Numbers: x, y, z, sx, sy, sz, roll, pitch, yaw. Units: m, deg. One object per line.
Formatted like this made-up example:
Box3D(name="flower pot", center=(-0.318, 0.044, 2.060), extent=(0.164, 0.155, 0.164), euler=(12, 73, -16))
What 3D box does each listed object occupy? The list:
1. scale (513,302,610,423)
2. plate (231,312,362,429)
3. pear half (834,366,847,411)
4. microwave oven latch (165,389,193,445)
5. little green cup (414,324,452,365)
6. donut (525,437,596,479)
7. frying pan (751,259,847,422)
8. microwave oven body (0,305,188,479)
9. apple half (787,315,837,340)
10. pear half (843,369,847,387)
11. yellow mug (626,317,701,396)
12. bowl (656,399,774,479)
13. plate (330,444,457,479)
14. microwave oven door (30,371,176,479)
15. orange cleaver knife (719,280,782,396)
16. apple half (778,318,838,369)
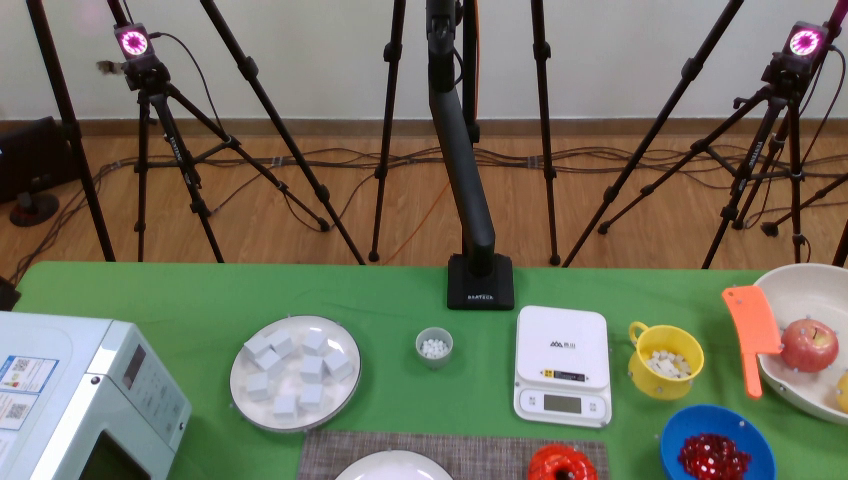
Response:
Box3D(name="scale", center=(0.222, 0.193, 0.981), extent=(0.148, 0.032, 0.199), euler=(4, 50, 7))
Box3D(name="plate", center=(-0.202, 0.210, 0.979), extent=(0.207, 0.039, 0.205), euler=(-1, 49, 1))
Box3D(name="pear half", center=(0.649, 0.218, 0.885), extent=(0.075, 0.111, 0.056), euler=(29, 57, 29))
Box3D(name="microwave oven latch", center=(-0.375, 0.266, 0.913), extent=(0.030, 0.030, 0.078), euler=(6, 50, 6))
Box3D(name="little green cup", center=(0.016, 0.175, 1.001), extent=(0.061, 0.039, 0.061), euler=(-1, 49, 2))
Box3D(name="donut", center=(0.191, 0.327, 0.853), extent=(0.099, 0.049, 0.098), euler=(-2, 50, 3))
Box3D(name="frying pan", center=(0.689, 0.221, 0.890), extent=(0.307, 0.104, 0.482), euler=(-20, 43, -13))
Box3D(name="microwave oven body", center=(-0.545, 0.327, 0.739), extent=(0.326, 0.262, 0.437), euler=(4, 50, 5))
Box3D(name="apple half", center=(0.621, 0.148, 0.969), extent=(0.080, 0.082, 0.033), euler=(36, 63, 29))
Box3D(name="pear half", center=(0.675, 0.205, 0.908), extent=(0.070, 0.089, 0.031), euler=(23, 54, 28))
Box3D(name="yellow mug", center=(0.370, 0.176, 0.967), extent=(0.100, 0.064, 0.129), euler=(-24, 51, -17))
Box3D(name="bowl", center=(0.394, 0.308, 0.845), extent=(0.151, 0.077, 0.150), euler=(-1, 50, 2))
Box3D(name="plate", center=(-0.043, 0.383, 0.819), extent=(0.209, 0.038, 0.207), euler=(-1, 49, 2))
Box3D(name="microwave oven door", center=(-0.405, 0.364, 0.695), extent=(0.039, 0.246, 0.352), euler=(3, 49, 6))
Box3D(name="orange cleaver knife", center=(0.511, 0.146, 0.939), extent=(0.077, 0.012, 0.209), euler=(4, 50, 9))
Box3D(name="apple half", center=(0.594, 0.170, 0.952), extent=(0.080, 0.075, 0.053), euler=(38, 64, 26))
